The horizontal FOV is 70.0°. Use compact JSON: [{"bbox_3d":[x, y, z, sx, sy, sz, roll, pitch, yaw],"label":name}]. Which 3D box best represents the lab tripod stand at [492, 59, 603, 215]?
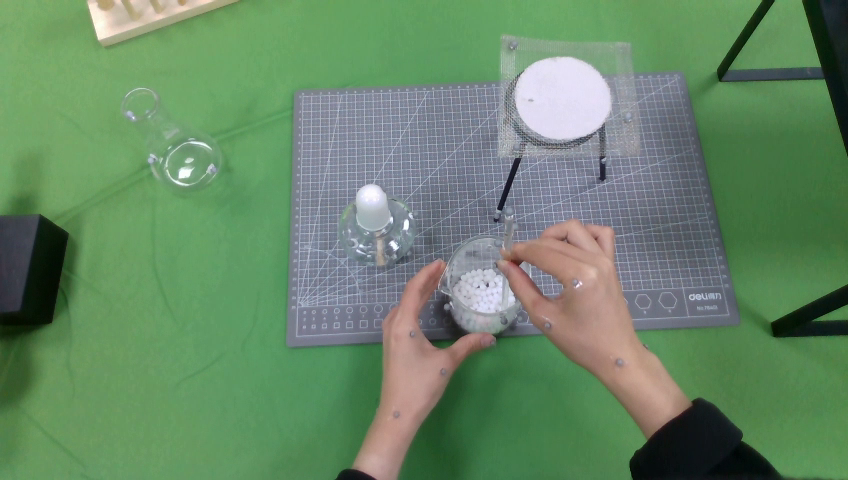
[{"bbox_3d":[0.119,-0.103,0.600,0.148,0.132,0.147,0,68,0],"label":"lab tripod stand"}]

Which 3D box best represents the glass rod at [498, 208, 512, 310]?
[{"bbox_3d":[0.066,0.023,0.504,0.008,0.201,0.008,-2,64,5],"label":"glass rod"}]

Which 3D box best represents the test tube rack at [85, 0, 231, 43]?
[{"bbox_3d":[-0.291,-0.323,0.715,0.242,0.086,0.066,-22,71,-7],"label":"test tube rack"}]

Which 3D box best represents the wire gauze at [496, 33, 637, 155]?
[{"bbox_3d":[0.125,-0.131,0.538,0.121,0.011,0.124,3,70,0],"label":"wire gauze"}]

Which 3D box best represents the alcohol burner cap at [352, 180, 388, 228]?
[{"bbox_3d":[-0.050,-0.035,0.550,0.034,0.048,0.033,1,63,-2],"label":"alcohol burner cap"}]

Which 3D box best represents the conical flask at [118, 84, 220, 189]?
[{"bbox_3d":[-0.264,-0.109,0.617,0.075,0.122,0.075,0,69,1],"label":"conical flask"}]

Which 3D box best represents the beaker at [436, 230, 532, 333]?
[{"bbox_3d":[0.053,0.044,0.565,0.084,0.101,0.073,-12,69,-3],"label":"beaker"}]

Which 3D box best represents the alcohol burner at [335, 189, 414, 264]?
[{"bbox_3d":[-0.049,-0.021,0.583,0.078,0.120,0.077,0,68,0],"label":"alcohol burner"}]
